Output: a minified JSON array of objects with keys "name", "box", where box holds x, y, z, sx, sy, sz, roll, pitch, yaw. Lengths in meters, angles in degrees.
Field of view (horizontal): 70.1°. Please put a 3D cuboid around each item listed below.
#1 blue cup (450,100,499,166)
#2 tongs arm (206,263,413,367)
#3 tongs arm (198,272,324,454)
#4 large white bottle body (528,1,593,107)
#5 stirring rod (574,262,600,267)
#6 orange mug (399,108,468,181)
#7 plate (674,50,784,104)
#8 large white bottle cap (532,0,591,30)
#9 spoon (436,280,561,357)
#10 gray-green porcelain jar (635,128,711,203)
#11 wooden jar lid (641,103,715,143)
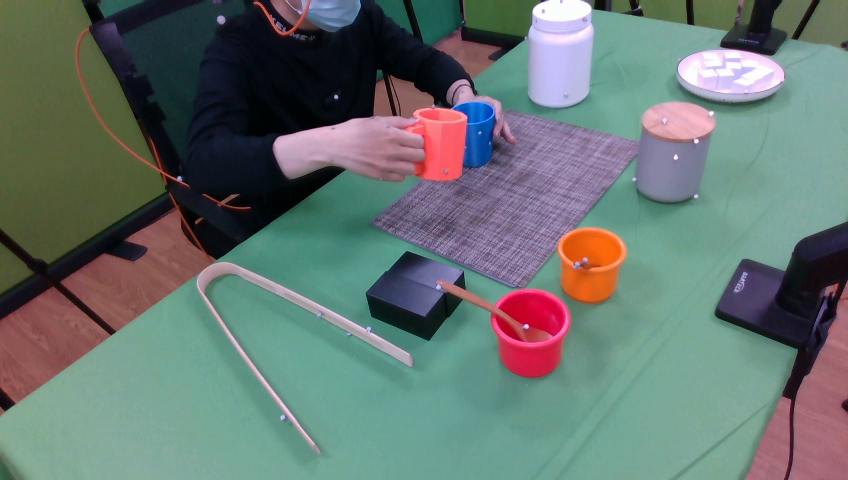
[{"name":"blue cup","box":[0.091,-0.195,1.122,0.092,0.100,0.092,-4,41,4]},{"name":"tongs arm","box":[-0.179,0.107,0.870,0.382,0.027,0.051,23,55,32]},{"name":"tongs arm","box":[-0.236,0.155,0.831,0.028,0.028,0.384,-37,48,-18]},{"name":"large white bottle body","box":[0.283,-0.386,1.259,0.130,0.185,0.130,-5,41,4]},{"name":"stirring rod","box":[0.222,0.033,0.816,0.014,0.006,0.177,7,1,22]},{"name":"orange mug","box":[0.010,-0.150,0.957,0.083,0.101,0.127,27,30,36]},{"name":"plate","box":[0.631,-0.336,1.262,0.207,0.039,0.206,-4,41,4]},{"name":"large white bottle cap","box":[0.274,-0.449,1.204,0.115,0.018,0.114,-4,41,4]},{"name":"spoon","box":[0.096,0.095,0.757,0.195,0.021,0.041,34,41,-20]},{"name":"gray-green porcelain jar","box":[0.405,-0.133,0.992,0.106,0.127,0.105,-4,40,4]},{"name":"wooden jar lid","box":[0.398,-0.180,0.952,0.108,0.021,0.108,-4,43,4]}]
